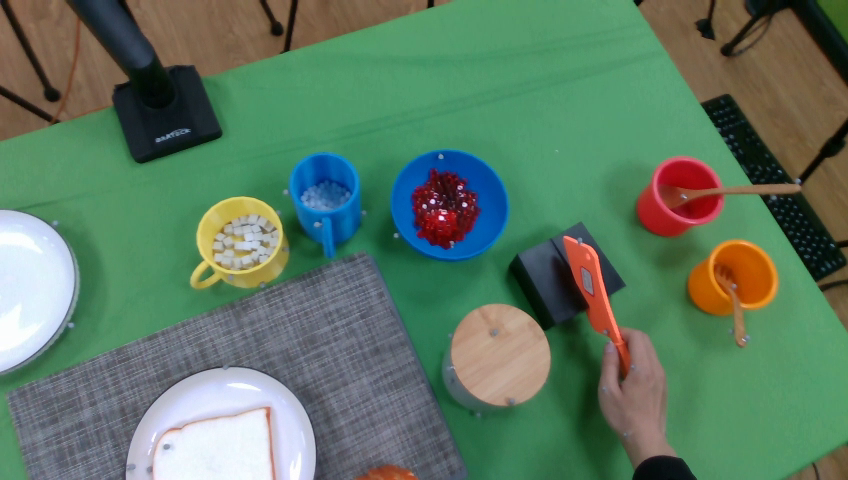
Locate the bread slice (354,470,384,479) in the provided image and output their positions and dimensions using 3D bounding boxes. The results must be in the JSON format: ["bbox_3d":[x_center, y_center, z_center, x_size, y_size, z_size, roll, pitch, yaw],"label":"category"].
[{"bbox_3d":[-0.046,0.294,0.638,0.018,0.135,0.106,-13,71,-18],"label":"bread slice"}]

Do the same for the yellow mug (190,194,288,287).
[{"bbox_3d":[-0.235,0.011,0.751,0.099,0.064,0.130,43,74,10],"label":"yellow mug"}]

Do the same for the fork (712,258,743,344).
[{"bbox_3d":[0.376,0.070,0.748,0.028,0.019,0.207,40,28,1],"label":"fork"}]

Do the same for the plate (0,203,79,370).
[{"bbox_3d":[-0.517,0.058,0.721,0.208,0.039,0.206,2,71,-5],"label":"plate"}]

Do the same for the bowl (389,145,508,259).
[{"bbox_3d":[0.028,-0.038,0.788,0.151,0.077,0.150,2,71,-5],"label":"bowl"}]

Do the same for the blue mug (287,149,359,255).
[{"bbox_3d":[-0.123,-0.038,0.759,0.082,0.106,0.116,-2,71,-6],"label":"blue mug"}]

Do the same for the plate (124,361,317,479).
[{"bbox_3d":[-0.224,0.244,0.683,0.209,0.038,0.207,2,71,-5],"label":"plate"}]

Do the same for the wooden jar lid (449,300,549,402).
[{"bbox_3d":[0.079,0.119,0.648,0.108,0.021,0.107,3,71,-7],"label":"wooden jar lid"}]

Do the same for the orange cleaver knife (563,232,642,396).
[{"bbox_3d":[0.215,0.089,0.741,0.012,0.077,0.212,-23,98,-12],"label":"orange cleaver knife"}]

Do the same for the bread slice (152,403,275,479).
[{"bbox_3d":[-0.237,0.248,0.684,0.132,0.019,0.104,-8,71,-12],"label":"bread slice"}]

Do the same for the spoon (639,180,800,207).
[{"bbox_3d":[0.382,-0.066,0.797,0.022,0.192,0.041,42,58,-39],"label":"spoon"}]

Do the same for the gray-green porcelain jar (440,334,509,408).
[{"bbox_3d":[0.074,0.140,0.706,0.106,0.127,0.105,2,71,-5],"label":"gray-green porcelain jar"}]
